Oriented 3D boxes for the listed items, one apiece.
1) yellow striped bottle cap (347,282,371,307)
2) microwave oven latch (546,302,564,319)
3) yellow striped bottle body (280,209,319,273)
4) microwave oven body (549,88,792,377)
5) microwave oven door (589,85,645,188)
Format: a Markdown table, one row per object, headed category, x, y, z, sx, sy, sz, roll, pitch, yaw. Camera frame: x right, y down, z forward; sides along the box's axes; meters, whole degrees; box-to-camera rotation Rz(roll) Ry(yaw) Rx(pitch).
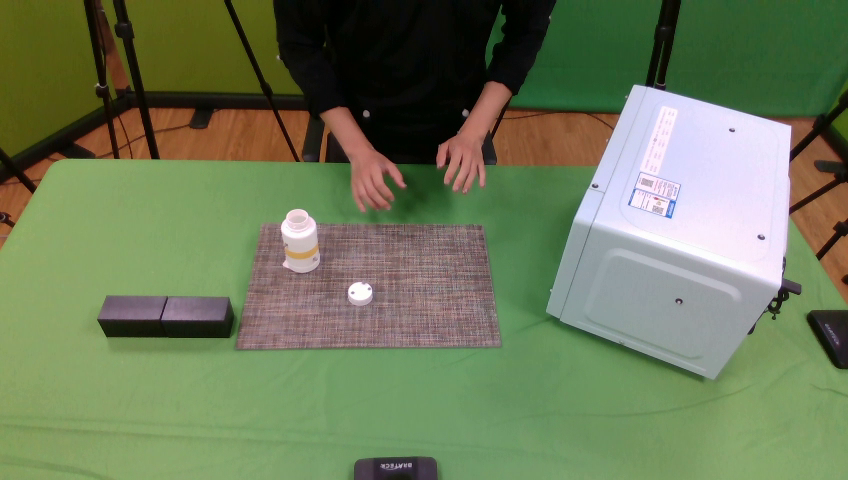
| category | x | y | z | sx | sy | sz | roll | pitch | yaw |
| --- | --- | --- | --- | --- | --- | --- | --- | --- | --- |
| yellow striped bottle cap | -0.117 | 0.098 | 1.093 | 0.044 | 0.019 | 0.044 | 3 | 45 | -3 |
| microwave oven latch | 0.242 | 0.102 | 1.081 | 0.030 | 0.029 | 0.079 | 22 | 48 | 17 |
| yellow striped bottle body | -0.227 | -0.001 | 1.106 | 0.063 | 0.121 | 0.062 | 2 | 46 | -2 |
| microwave oven body | 0.456 | -0.028 | 1.088 | 0.325 | 0.261 | 0.440 | 20 | 47 | 16 |
| microwave oven door | 0.341 | -0.107 | 1.149 | 0.039 | 0.245 | 0.354 | 20 | 48 | 15 |
